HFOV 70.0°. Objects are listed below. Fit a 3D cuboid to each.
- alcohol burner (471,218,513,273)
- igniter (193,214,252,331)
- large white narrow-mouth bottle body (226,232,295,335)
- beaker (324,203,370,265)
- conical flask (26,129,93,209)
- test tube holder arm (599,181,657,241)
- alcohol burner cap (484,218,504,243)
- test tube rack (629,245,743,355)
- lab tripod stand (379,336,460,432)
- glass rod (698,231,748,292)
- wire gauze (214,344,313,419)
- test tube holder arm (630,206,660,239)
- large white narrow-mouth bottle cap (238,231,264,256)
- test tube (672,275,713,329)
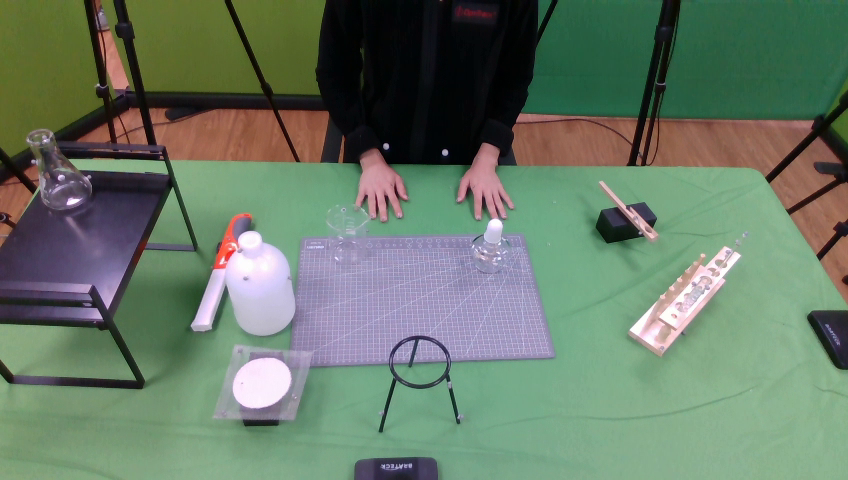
[{"bbox_3d":[0.128,0.005,1.132,0.078,0.120,0.077,0,47,0],"label":"alcohol burner"},{"bbox_3d":[-0.368,0.050,1.119,0.057,0.025,0.275,-3,46,8],"label":"igniter"},{"bbox_3d":[-0.270,0.065,0.995,0.102,0.195,0.101,2,46,-2],"label":"large white narrow-mouth bottle body"},{"bbox_3d":[-0.142,-0.009,1.137,0.084,0.101,0.073,-3,47,-7],"label":"beaker"},{"bbox_3d":[-0.575,-0.113,0.946,0.075,0.122,0.075,2,46,-2],"label":"conical flask"},{"bbox_3d":[0.407,-0.062,1.219,0.013,0.015,0.177,-23,51,-13],"label":"test tube holder arm"},{"bbox_3d":[0.130,-0.021,1.106,0.034,0.048,0.033,3,51,-4],"label":"alcohol burner cap"},{"bbox_3d":[0.474,0.095,1.091,0.242,0.085,0.066,-34,56,-31],"label":"test tube rack"},{"bbox_3d":[-0.011,0.214,0.911,0.148,0.132,0.147,1,45,0],"label":"lab tripod stand"},{"bbox_3d":[0.514,0.044,1.051,0.008,0.200,0.008,1,55,-1],"label":"glass rod"},{"bbox_3d":[-0.241,0.213,0.915,0.121,0.011,0.124,5,46,1],"label":"wire gauze"},{"bbox_3d":[0.431,-0.034,1.192,0.010,0.015,0.087,-23,51,-13],"label":"test tube holder arm"},{"bbox_3d":[-0.266,0.006,0.932,0.038,0.024,0.037,2,46,-2],"label":"large white narrow-mouth bottle cap"},{"bbox_3d":[0.438,0.106,1.007,0.017,0.151,0.017,4,51,-4],"label":"test tube"}]
